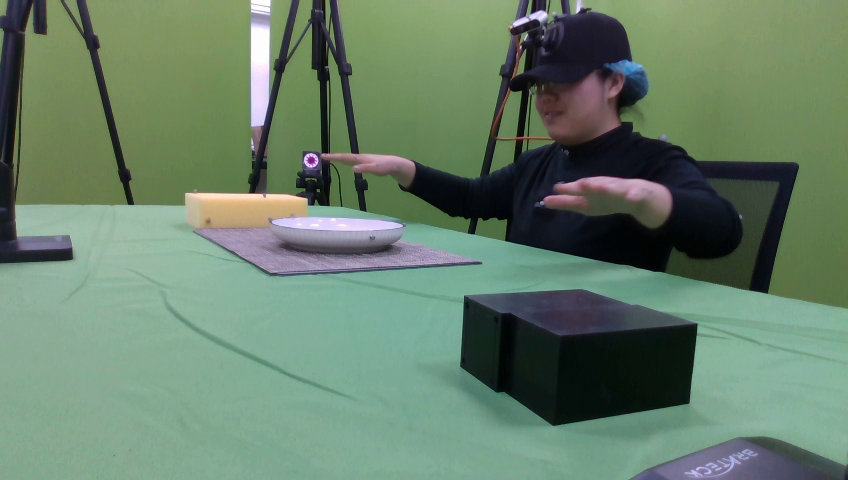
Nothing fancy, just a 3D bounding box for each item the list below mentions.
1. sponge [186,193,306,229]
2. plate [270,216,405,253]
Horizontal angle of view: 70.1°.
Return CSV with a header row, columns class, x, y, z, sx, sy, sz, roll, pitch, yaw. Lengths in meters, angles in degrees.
class,x,y,z,sx,sy,sz,roll,pitch,yaw
sponge,-0.350,-0.059,1.194,0.208,0.061,0.117,-3,9,-34
plate,-0.134,-0.010,0.946,0.208,0.039,0.207,2,7,0
